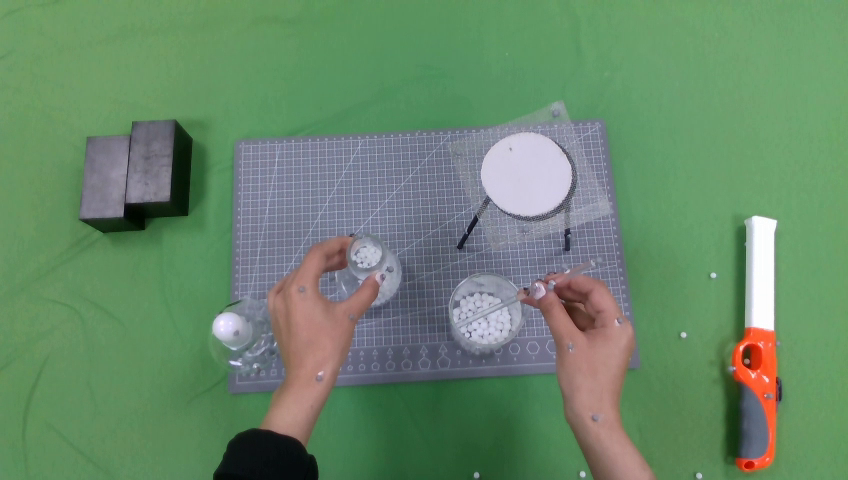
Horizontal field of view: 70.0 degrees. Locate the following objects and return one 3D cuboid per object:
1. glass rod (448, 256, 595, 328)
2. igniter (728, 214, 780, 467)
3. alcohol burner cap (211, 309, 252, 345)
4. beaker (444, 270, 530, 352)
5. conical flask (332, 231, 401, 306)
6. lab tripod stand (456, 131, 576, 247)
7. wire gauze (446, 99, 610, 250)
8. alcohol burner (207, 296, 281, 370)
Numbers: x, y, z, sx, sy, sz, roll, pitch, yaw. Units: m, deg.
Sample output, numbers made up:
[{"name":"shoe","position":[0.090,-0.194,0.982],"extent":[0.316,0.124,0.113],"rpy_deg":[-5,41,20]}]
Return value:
[{"name":"glass rod","position":[0.081,0.052,0.565],"extent":[0.008,0.199,0.008],"rpy_deg":[17,58,-30]},{"name":"igniter","position":[0.359,0.105,0.660],"extent":[0.057,0.025,0.275],"rpy_deg":[11,75,-7]},{"name":"alcohol burner cap","position":[-0.188,0.082,0.586],"extent":[0.034,0.048,0.033],"rpy_deg":[1,72,-4]},{"name":"beaker","position":[0.062,0.077,0.630],"extent":[0.084,0.101,0.073],"rpy_deg":[-5,75,-1]},{"name":"conical flask","position":[-0.060,0.024,0.618],"extent":[0.075,0.122,0.075],"rpy_deg":[1,77,-4]},{"name":"lab tripod stand","position":[0.100,-0.044,0.644],"extent":[0.148,0.132,0.147],"rpy_deg":[0,77,1]},{"name":"wire gauze","position":[0.098,-0.063,0.580],"extent":[0.125,0.011,0.121],"rpy_deg":[-19,77,-3]},{"name":"alcohol burner","position":[-0.188,0.093,0.621],"extent":[0.078,0.119,0.077],"rpy_deg":[0,76,-1]}]
